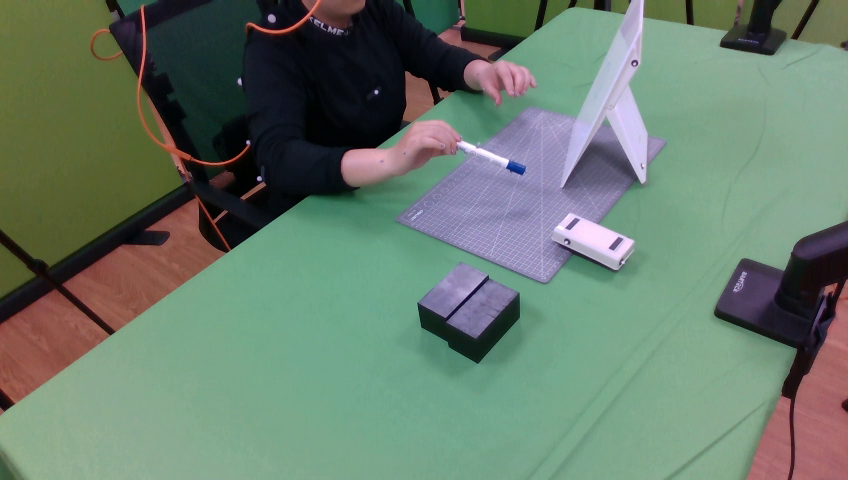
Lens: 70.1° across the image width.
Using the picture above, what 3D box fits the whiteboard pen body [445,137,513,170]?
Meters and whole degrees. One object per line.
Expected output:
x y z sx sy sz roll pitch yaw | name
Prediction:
0.101 -0.142 1.014 0.141 0.017 0.017 23 45 1 | whiteboard pen body

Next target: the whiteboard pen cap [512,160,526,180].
0.159 -0.117 1.015 0.018 0.033 0.018 -24 17 8 | whiteboard pen cap

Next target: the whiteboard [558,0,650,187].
0.362 -0.238 1.026 0.144 0.306 0.217 21 45 4 | whiteboard

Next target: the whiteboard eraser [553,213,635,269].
0.257 0.003 0.918 0.112 0.042 0.056 27 49 30 | whiteboard eraser
